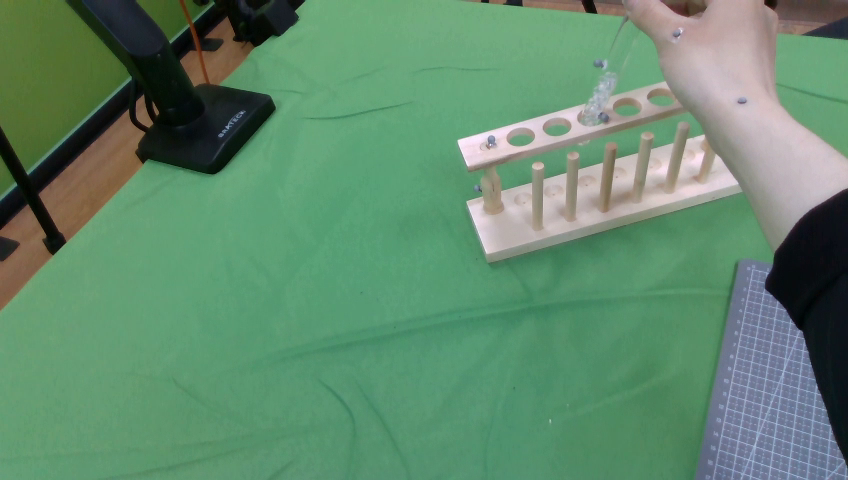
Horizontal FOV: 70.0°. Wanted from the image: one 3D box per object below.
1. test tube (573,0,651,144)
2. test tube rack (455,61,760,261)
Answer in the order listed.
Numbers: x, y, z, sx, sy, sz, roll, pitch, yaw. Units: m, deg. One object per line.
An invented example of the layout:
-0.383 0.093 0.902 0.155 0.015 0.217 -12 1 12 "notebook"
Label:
0.143 -0.140 0.455 0.017 0.151 0.017 13 34 -9 "test tube"
0.154 -0.064 0.502 0.242 0.086 0.066 -16 50 -2 "test tube rack"
